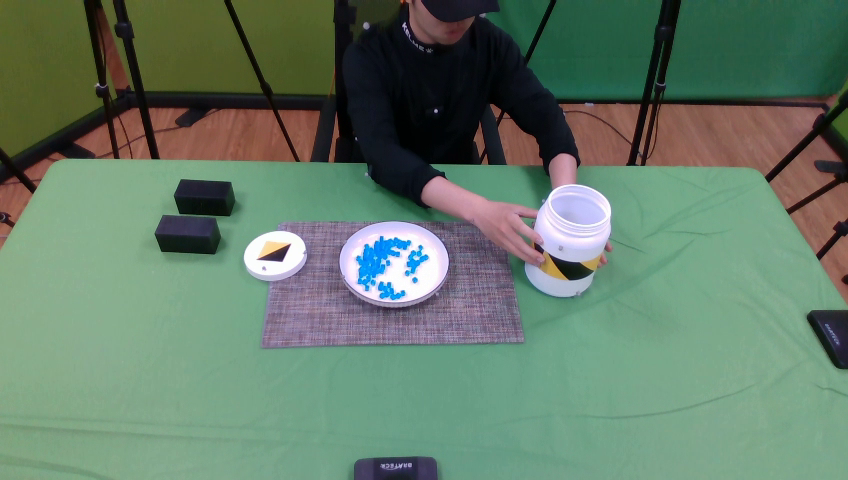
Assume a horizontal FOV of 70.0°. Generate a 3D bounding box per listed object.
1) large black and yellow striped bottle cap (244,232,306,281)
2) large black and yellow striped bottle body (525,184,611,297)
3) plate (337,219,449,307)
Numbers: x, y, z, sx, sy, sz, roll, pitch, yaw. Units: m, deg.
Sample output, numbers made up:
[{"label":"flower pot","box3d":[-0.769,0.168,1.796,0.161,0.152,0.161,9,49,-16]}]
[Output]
[{"label":"large black and yellow striped bottle cap","box3d":[-0.282,0.030,1.146,0.115,0.019,0.114,-1,45,1]},{"label":"large black and yellow striped bottle body","box3d":[0.262,0.001,1.102,0.131,0.185,0.130,2,46,-2]},{"label":"plate","box3d":[-0.057,0.045,1.132,0.208,0.039,0.206,2,46,-2]}]
